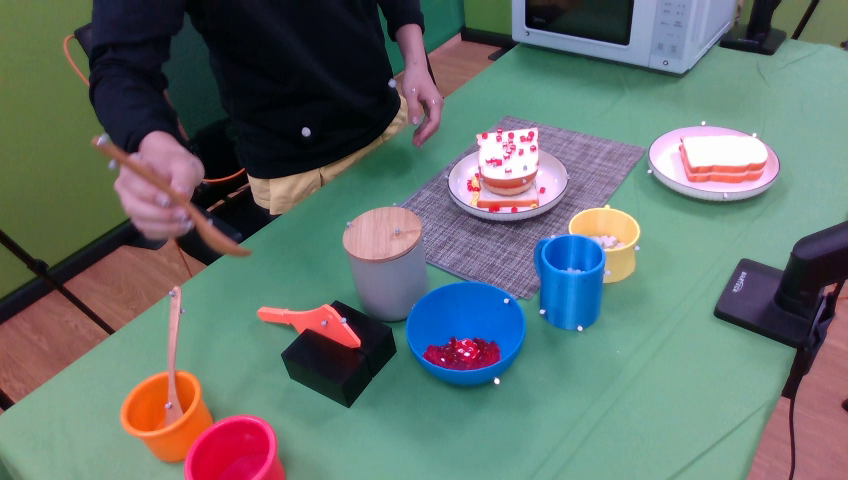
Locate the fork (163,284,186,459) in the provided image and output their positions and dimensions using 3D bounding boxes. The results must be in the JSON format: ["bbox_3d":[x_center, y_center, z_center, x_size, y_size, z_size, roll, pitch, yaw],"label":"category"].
[{"bbox_3d":[-0.302,0.157,0.733,0.028,0.019,0.207,-3,84,15],"label":"fork"}]

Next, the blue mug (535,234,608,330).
[{"bbox_3d":[0.191,0.048,0.824,0.082,0.106,0.115,-26,44,-21],"label":"blue mug"}]

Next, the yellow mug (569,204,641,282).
[{"bbox_3d":[0.268,-0.005,0.904,0.099,0.064,0.130,7,41,15],"label":"yellow mug"}]

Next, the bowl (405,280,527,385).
[{"bbox_3d":[0.055,0.131,0.767,0.151,0.077,0.150,-4,40,4],"label":"bowl"}]

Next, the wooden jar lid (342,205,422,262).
[{"bbox_3d":[-0.055,-0.006,0.808,0.108,0.021,0.108,-6,41,6],"label":"wooden jar lid"}]

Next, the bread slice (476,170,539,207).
[{"bbox_3d":[0.144,-0.103,1.059,0.105,0.019,0.131,-1,44,5],"label":"bread slice"}]

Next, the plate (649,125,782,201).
[{"bbox_3d":[0.493,-0.128,1.036,0.207,0.039,0.206,-4,41,4],"label":"plate"}]

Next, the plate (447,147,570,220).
[{"bbox_3d":[0.145,-0.098,1.046,0.209,0.038,0.208,-4,40,4],"label":"plate"}]

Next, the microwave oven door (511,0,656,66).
[{"bbox_3d":[0.351,-0.540,1.349,0.353,0.245,0.039,24,50,31],"label":"microwave oven door"}]

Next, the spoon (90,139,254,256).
[{"bbox_3d":[-0.231,-0.034,0.571,0.041,0.195,0.021,9,61,35],"label":"spoon"}]

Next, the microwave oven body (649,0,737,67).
[{"bbox_3d":[0.475,-0.602,1.411,0.438,0.261,0.327,23,50,32],"label":"microwave oven body"}]

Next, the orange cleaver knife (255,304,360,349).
[{"bbox_3d":[-0.161,0.115,0.813,0.210,0.077,0.012,-4,32,47],"label":"orange cleaver knife"}]

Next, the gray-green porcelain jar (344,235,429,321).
[{"bbox_3d":[-0.049,0.042,0.849,0.106,0.127,0.105,-4,41,4],"label":"gray-green porcelain jar"}]

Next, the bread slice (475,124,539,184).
[{"bbox_3d":[0.143,-0.144,1.009,0.107,0.018,0.133,-7,46,7],"label":"bread slice"}]

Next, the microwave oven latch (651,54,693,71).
[{"bbox_3d":[0.532,-0.386,1.301,0.078,0.029,0.030,27,52,34],"label":"microwave oven latch"}]
